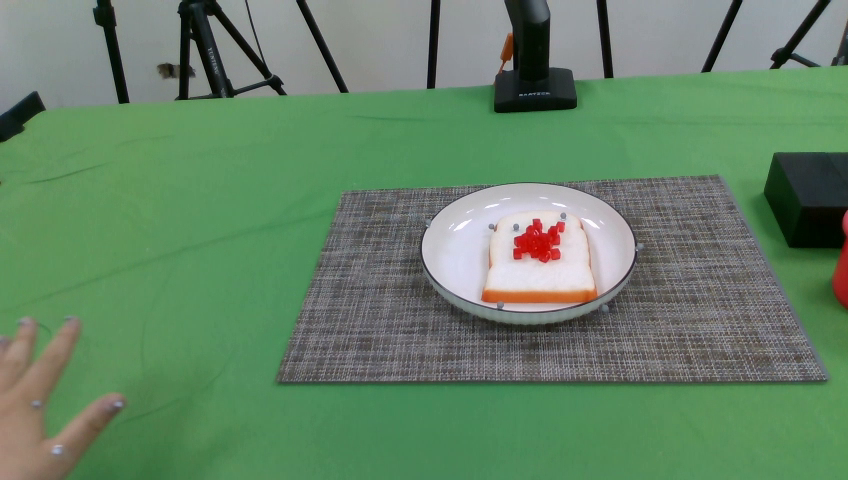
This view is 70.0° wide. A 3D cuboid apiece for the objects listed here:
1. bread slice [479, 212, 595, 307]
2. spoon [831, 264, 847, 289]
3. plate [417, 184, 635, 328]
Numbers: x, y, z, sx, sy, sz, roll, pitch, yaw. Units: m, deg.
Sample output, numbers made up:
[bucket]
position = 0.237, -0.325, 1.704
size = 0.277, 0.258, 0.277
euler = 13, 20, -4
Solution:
[bread slice]
position = 0.110, 0.016, 0.602
size = 0.105, 0.019, 0.130
euler = 0, 39, 9
[spoon]
position = 0.431, 0.001, 0.481
size = 0.022, 0.194, 0.041
euler = 47, 46, -7
[plate]
position = 0.098, 0.015, 0.601
size = 0.209, 0.038, 0.207
euler = -5, 38, 4
